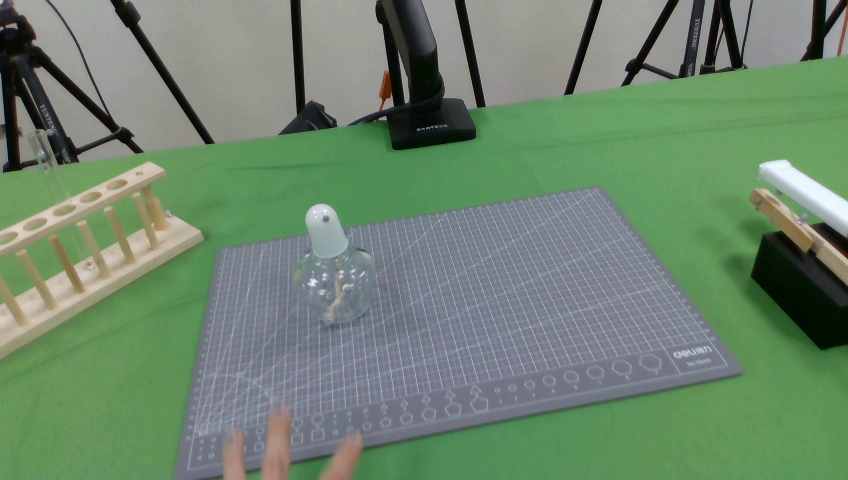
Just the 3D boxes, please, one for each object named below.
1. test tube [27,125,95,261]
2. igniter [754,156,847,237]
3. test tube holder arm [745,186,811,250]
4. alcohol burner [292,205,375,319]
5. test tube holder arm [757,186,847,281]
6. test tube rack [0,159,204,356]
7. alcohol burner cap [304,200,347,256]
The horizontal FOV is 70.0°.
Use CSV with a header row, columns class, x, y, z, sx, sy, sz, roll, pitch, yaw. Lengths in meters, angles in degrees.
class,x,y,z,sx,sy,sz,roll,pitch,yaw
test tube,-0.366,-0.044,0.615,0.017,0.151,0.017,-3,31,2
igniter,0.379,-0.006,0.516,0.057,0.025,0.273,-11,34,-5
test tube holder arm,0.322,-0.021,0.550,0.010,0.015,0.087,-5,37,-9
alcohol burner,-0.085,0.015,0.554,0.078,0.120,0.077,-2,39,2
test tube holder arm,0.336,0.004,0.515,0.013,0.015,0.176,-5,37,-10
test tube rack,-0.360,0.012,0.624,0.066,0.086,0.242,25,47,33
alcohol burner cap,-0.088,-0.014,0.533,0.034,0.048,0.033,-6,39,5
